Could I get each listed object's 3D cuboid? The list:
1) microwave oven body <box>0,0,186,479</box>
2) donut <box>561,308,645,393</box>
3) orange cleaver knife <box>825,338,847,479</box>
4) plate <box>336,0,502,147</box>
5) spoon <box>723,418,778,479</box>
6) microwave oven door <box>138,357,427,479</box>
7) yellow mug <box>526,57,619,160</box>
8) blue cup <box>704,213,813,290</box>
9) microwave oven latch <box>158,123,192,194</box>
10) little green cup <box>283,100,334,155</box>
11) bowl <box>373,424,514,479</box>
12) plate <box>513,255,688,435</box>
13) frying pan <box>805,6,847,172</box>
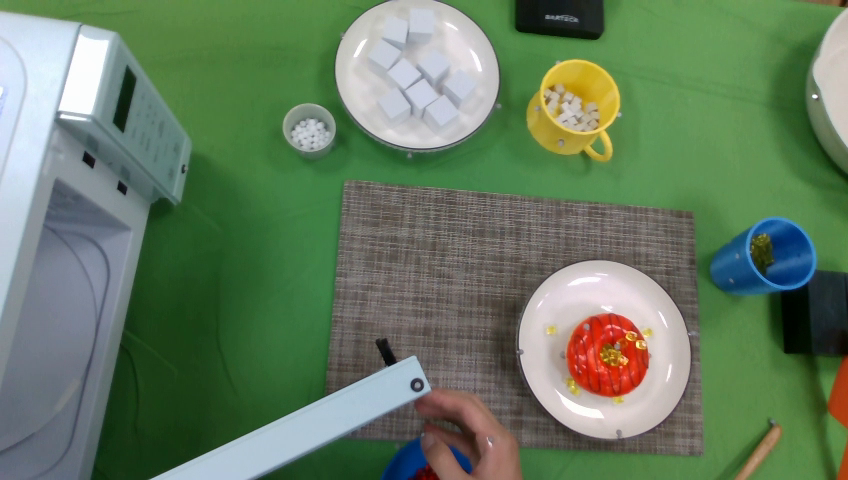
[{"bbox_3d":[-0.445,0.035,0.546,0.326,0.261,0.439,8,78,-5],"label":"microwave oven body"},{"bbox_3d":[0.207,0.128,0.703,0.099,0.048,0.098,1,81,-5],"label":"donut"},{"bbox_3d":[0.505,0.194,0.716,0.012,0.076,0.212,4,106,-5],"label":"orange cleaver knife"},{"bbox_3d":[-0.006,-0.212,0.767,0.208,0.039,0.206,1,78,-6],"label":"plate"},{"bbox_3d":[0.359,0.279,0.711,0.193,0.022,0.041,-41,68,-12],"label":"spoon"},{"bbox_3d":[-0.172,0.193,0.539,0.356,0.244,0.039,-24,81,-11],"label":"microwave oven door"},{"bbox_3d":[0.194,-0.158,0.764,0.100,0.064,0.130,-32,84,-12],"label":"yellow mug"},{"bbox_3d":[0.393,0.022,0.730,0.093,0.100,0.092,2,76,-7],"label":"blue cup"},{"bbox_3d":[-0.287,-0.095,0.690,0.030,0.029,0.079,10,78,-5],"label":"microwave oven latch"},{"bbox_3d":[-0.138,-0.133,0.733,0.062,0.039,0.061,2,78,-7],"label":"little green cup"},{"bbox_3d":[0.016,0.271,0.645,0.152,0.077,0.150,2,77,-7],"label":"bowl"},{"bbox_3d":[0.204,0.122,0.716,0.209,0.038,0.208,1,78,-6],"label":"plate"},{"bbox_3d":[0.634,-0.094,0.781,0.307,0.103,0.484,10,69,-3],"label":"frying pan"}]
